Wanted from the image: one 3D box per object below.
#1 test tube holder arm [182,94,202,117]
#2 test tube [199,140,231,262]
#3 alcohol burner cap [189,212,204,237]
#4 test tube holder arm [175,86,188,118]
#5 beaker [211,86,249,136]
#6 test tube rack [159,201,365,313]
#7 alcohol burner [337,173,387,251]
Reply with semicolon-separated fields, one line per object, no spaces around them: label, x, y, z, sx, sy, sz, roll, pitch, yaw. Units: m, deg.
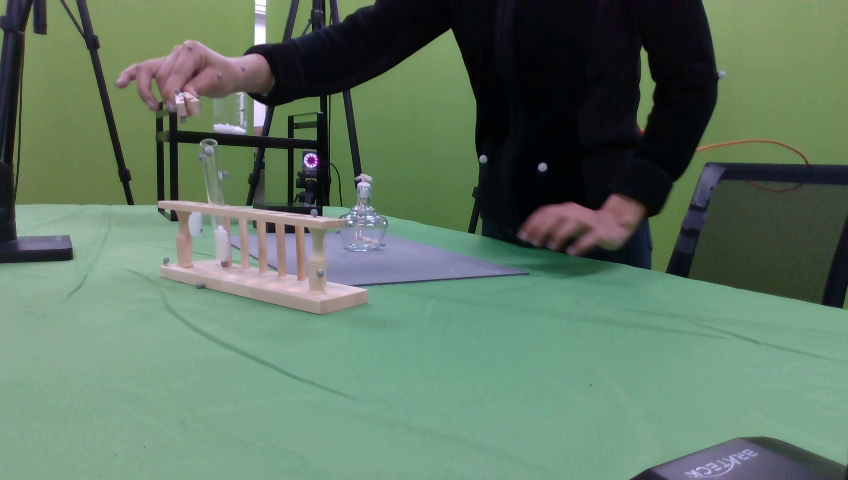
test tube holder arm;-0.250;-0.145;0.647;0.010;0.015;0.087;-10;23;-27
test tube;-0.216;-0.036;0.628;0.017;0.150;0.017;4;38;-3
alcohol burner cap;-0.389;-0.029;1.025;0.034;0.048;0.034;2;8;0
test tube holder arm;-0.274;-0.158;0.683;0.013;0.015;0.177;-7;22;-22
beaker;-0.413;-0.274;1.297;0.074;0.100;0.083;-5;11;-44
test tube rack;-0.173;0.009;0.624;0.241;0.085;0.067;7;9;34
alcohol burner;-0.095;-0.043;0.926;0.078;0.119;0.078;3;5;0
